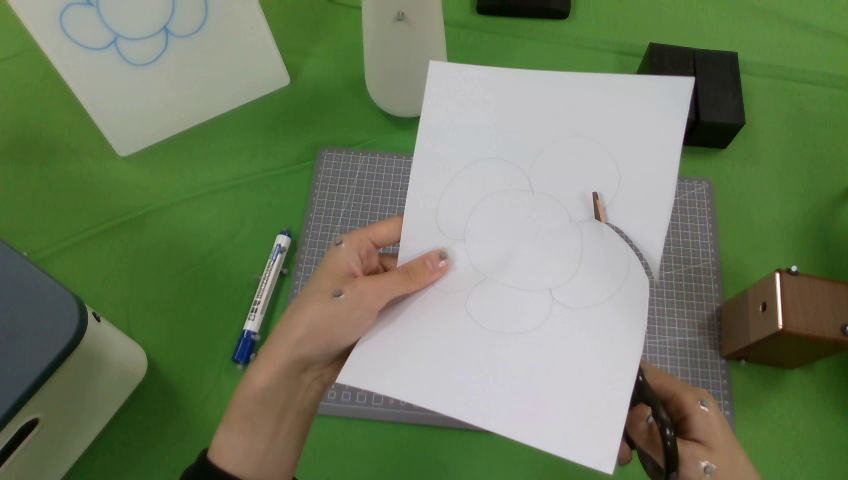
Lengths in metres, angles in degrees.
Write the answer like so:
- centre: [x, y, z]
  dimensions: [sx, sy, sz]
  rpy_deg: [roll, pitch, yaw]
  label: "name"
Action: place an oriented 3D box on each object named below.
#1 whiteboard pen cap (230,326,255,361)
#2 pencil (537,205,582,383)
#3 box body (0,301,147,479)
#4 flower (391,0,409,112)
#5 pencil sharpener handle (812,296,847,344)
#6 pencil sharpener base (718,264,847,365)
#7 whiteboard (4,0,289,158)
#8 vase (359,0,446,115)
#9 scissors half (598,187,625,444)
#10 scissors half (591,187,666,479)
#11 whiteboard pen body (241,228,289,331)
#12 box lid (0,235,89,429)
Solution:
- centre: [-0.179, 0.102, 0.603]
  dimensions: [0.018, 0.018, 0.033]
  rpy_deg: [11, 62, 5]
  label: "whiteboard pen cap"
- centre: [0.141, 0.052, 0.629]
  dimensions: [0.012, 0.012, 0.192]
  rpy_deg: [-8, 69, -3]
  label: "pencil"
- centre: [-0.471, 0.092, 0.532]
  dimensions: [0.362, 0.161, 0.253]
  rpy_deg: [31, 70, 12]
  label: "box body"
- centre: [-0.032, -0.271, 0.576]
  dimensions: [0.044, 0.365, 0.038]
  rpy_deg: [-1, 49, 3]
  label: "flower"
- centre: [0.388, 0.078, 0.555]
  dimensions: [0.030, 0.068, 0.035]
  rpy_deg: [9, 60, 1]
  label: "pencil sharpener handle"
- centre: [0.337, 0.073, 0.567]
  dimensions: [0.077, 0.108, 0.061]
  rpy_deg: [9, 66, 1]
  label: "pencil sharpener base"
- centre: [-0.314, -0.285, 0.648]
  dimensions: [0.217, 0.308, 0.142]
  rpy_deg: [-27, 50, -10]
  label: "whiteboard"
- centre: [-0.025, -0.224, 0.647]
  dimensions: [0.098, 0.201, 0.097]
  rpy_deg: [-1, 65, 2]
  label: "vase"
- centre: [0.113, 0.050, 0.367]
  dimensions: [0.013, 0.176, 0.039]
  rpy_deg: [-12, 25, -1]
  label: "scissors half"
- centre: [0.115, 0.055, 0.346]
  dimensions: [0.013, 0.040, 0.175]
  rpy_deg: [-13, 94, -6]
  label: "scissors half"
- centre: [-0.167, 0.050, 0.627]
  dimensions: [0.017, 0.017, 0.140]
  rpy_deg: [11, 66, 6]
  label: "whiteboard pen body"
- centre: [-0.473, 0.061, 0.464]
  dimensions: [0.370, 0.015, 0.262]
  rpy_deg: [31, 70, 12]
  label: "box lid"
